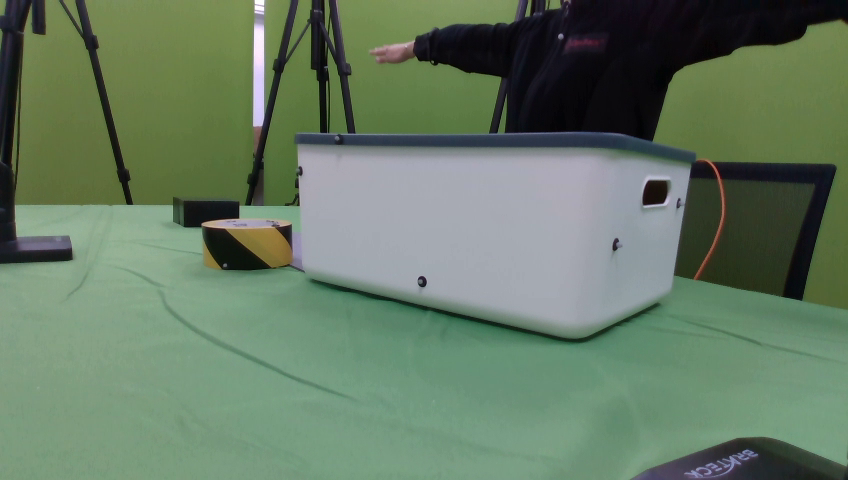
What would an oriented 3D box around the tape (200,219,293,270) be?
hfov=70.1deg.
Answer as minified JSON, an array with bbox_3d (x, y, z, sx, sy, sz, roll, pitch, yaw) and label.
[{"bbox_3d":[-0.228,0.003,0.778,0.117,0.052,0.117,1,8,0],"label":"tape"}]

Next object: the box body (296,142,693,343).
[{"bbox_3d":[0.065,-0.020,0.653,0.362,0.160,0.255,9,9,37],"label":"box body"}]

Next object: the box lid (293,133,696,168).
[{"bbox_3d":[0.068,-0.094,0.645,0.369,0.015,0.265,9,8,37],"label":"box lid"}]
